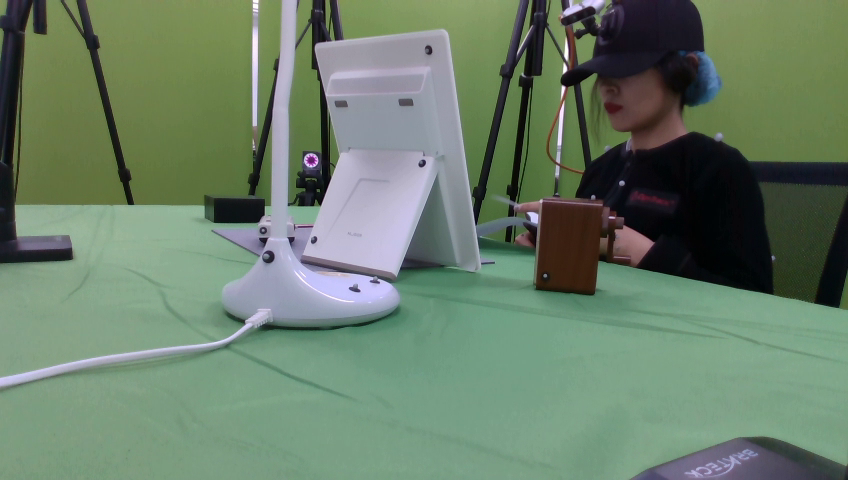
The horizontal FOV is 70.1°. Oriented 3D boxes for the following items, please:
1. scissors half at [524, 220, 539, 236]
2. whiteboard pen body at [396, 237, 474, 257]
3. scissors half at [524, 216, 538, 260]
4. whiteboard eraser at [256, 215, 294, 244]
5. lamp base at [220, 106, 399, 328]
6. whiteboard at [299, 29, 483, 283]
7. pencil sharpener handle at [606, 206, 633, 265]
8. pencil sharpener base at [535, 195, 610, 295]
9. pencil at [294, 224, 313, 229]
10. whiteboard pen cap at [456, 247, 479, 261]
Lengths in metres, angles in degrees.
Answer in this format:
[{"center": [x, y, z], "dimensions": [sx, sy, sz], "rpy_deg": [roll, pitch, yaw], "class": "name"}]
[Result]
[{"center": [0.209, -0.024, 1.097], "dimensions": [0.013, 0.040, 0.176], "rpy_deg": [11, 2, 28], "class": "scissors half"}, {"center": [0.014, 0.012, 0.886], "dimensions": [0.140, 0.017, 0.017], "rpy_deg": [9, 10, 38], "class": "whiteboard pen body"}, {"center": [0.201, -0.004, 1.094], "dimensions": [0.012, 0.040, 0.176], "rpy_deg": [17, -18, 29], "class": "scissors half"}, {"center": [-0.232, -0.016, 0.951], "dimensions": [0.056, 0.042, 0.112], "rpy_deg": [2, 7, -12], "class": "whiteboard eraser"}, {"center": [-0.101, -0.023, 0.531], "dimensions": [0.160, 0.180, 0.179], "rpy_deg": [4, 10, 10], "class": "lamp base"}, {"center": [-0.074, -0.082, 0.742], "dimensions": [0.216, 0.305, 0.144], "rpy_deg": [9, 30, 38], "class": "whiteboard"}, {"center": [0.223, -0.004, 0.683], "dimensions": [0.030, 0.068, 0.036], "rpy_deg": [5, 21, 17], "class": "pencil sharpener handle"}, {"center": [0.172, 0.005, 0.696], "dimensions": [0.076, 0.107, 0.061], "rpy_deg": [5, 7, 16], "class": "pencil sharpener base"}, {"center": [-0.221, -0.028, 1.211], "dimensions": [0.195, 0.012, 0.012], "rpy_deg": [-5, 10, -34], "class": "pencil"}, {"center": [0.060, 0.020, 0.851], "dimensions": [0.033, 0.018, 0.018], "rpy_deg": [10, 10, 37], "class": "whiteboard pen cap"}]
